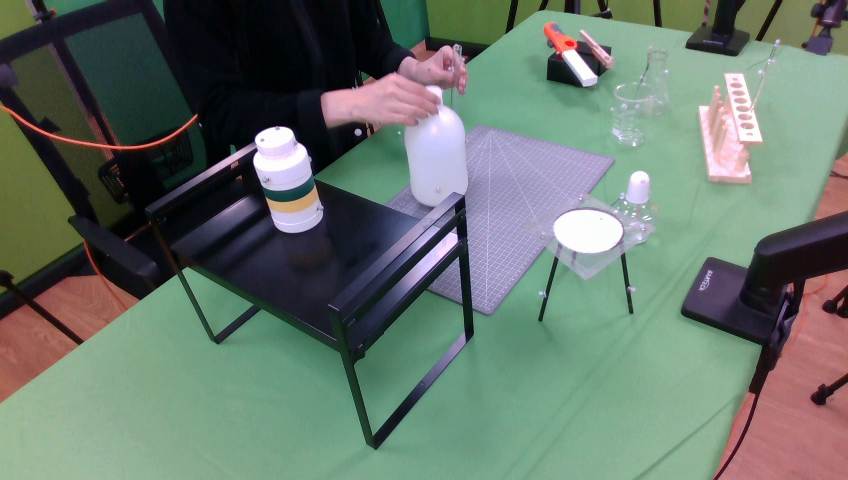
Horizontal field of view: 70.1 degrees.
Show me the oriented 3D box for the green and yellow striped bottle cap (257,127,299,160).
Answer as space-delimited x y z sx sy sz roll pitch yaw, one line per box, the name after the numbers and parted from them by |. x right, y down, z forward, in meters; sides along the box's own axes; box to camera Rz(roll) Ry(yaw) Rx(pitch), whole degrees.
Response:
-0.169 -0.112 0.698 0.045 0.020 0.045 -5 40 5 | green and yellow striped bottle cap

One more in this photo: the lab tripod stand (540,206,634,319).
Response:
0.218 0.034 0.821 0.148 0.132 0.147 -4 42 4 | lab tripod stand

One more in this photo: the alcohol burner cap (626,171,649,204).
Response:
0.320 -0.081 0.900 0.034 0.048 0.033 -4 42 4 | alcohol burner cap

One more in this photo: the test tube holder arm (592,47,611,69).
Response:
0.386 -0.398 1.317 0.010 0.015 0.087 -10 41 -2 | test tube holder arm

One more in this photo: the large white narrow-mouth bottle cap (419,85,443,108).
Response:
0.010 -0.220 0.930 0.038 0.024 0.037 -4 41 4 | large white narrow-mouth bottle cap

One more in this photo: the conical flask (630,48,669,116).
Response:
0.457 -0.317 1.205 0.075 0.122 0.075 -4 41 4 | conical flask

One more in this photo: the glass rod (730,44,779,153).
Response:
0.555 -0.234 1.020 0.008 0.200 0.008 2 40 -1 | glass rod

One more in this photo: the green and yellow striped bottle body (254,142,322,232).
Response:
-0.165 -0.073 0.732 0.063 0.120 0.063 -4 41 4 | green and yellow striped bottle body

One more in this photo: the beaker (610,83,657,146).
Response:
0.388 -0.235 1.138 0.074 0.101 0.083 -31 45 -25 | beaker

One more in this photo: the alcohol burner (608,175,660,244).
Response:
0.322 -0.053 0.924 0.078 0.119 0.077 -4 43 4 | alcohol burner

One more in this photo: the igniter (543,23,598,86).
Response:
0.320 -0.419 1.345 0.057 0.025 0.274 -12 44 -3 | igniter

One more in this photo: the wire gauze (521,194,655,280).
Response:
0.207 -0.012 0.772 0.122 0.011 0.124 -28 44 -20 | wire gauze

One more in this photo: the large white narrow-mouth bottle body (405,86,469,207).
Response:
0.019 -0.156 0.986 0.102 0.195 0.101 -4 42 4 | large white narrow-mouth bottle body

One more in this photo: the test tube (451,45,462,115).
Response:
0.056 -0.272 1.068 0.017 0.151 0.017 0 44 0 | test tube

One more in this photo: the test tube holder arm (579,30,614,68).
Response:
0.384 -0.428 1.351 0.013 0.015 0.177 -11 41 -3 | test tube holder arm

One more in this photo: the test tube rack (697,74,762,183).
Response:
0.547 -0.208 1.095 0.066 0.085 0.242 5 42 15 | test tube rack
